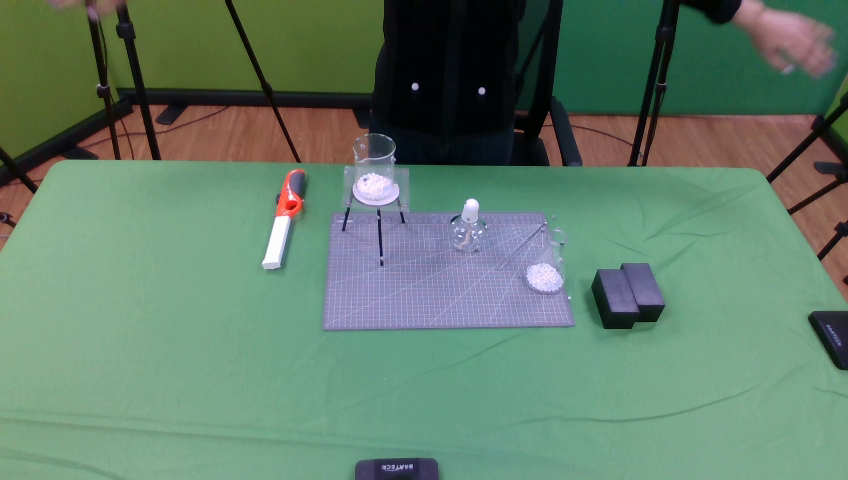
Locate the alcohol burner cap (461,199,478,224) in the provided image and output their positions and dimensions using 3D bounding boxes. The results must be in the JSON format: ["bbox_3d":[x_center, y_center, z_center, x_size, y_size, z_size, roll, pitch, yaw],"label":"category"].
[{"bbox_3d":[0.088,-0.057,1.144,0.034,0.048,0.033,2,52,-2],"label":"alcohol burner cap"}]

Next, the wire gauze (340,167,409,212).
[{"bbox_3d":[-0.091,-0.095,1.111,0.125,0.011,0.120,1,43,-2],"label":"wire gauze"}]

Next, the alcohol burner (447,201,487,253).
[{"bbox_3d":[0.085,-0.033,1.171,0.078,0.119,0.077,4,45,-3],"label":"alcohol burner"}]

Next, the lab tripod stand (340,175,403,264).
[{"bbox_3d":[-0.093,-0.050,1.160,0.148,0.132,0.147,2,44,-2],"label":"lab tripod stand"}]

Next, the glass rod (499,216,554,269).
[{"bbox_3d":[0.208,0.002,1.219,0.008,0.008,0.199,32,52,25],"label":"glass rod"}]

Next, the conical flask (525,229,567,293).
[{"bbox_3d":[0.232,0.036,1.110,0.075,0.122,0.075,2,46,-2],"label":"conical flask"}]

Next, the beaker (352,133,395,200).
[{"bbox_3d":[-0.091,-0.126,1.074,0.074,0.101,0.084,26,49,21],"label":"beaker"}]

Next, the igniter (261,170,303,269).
[{"bbox_3d":[-0.283,-0.050,1.222,0.057,0.025,0.275,-4,45,6],"label":"igniter"}]
